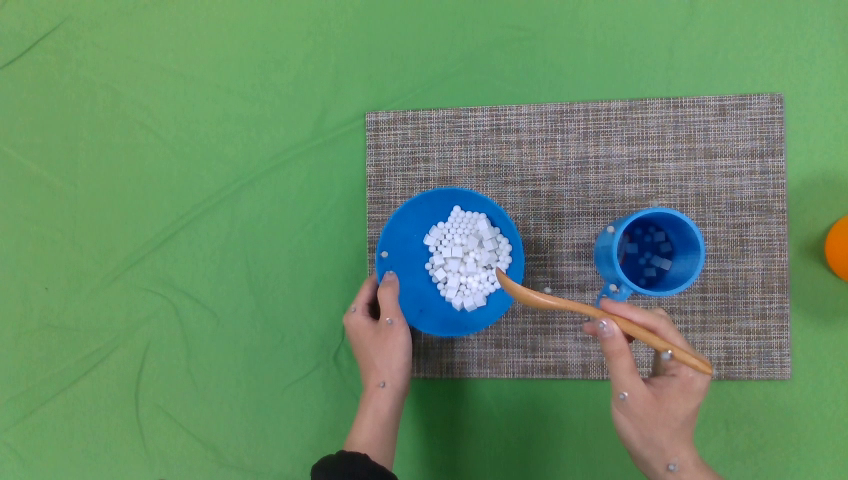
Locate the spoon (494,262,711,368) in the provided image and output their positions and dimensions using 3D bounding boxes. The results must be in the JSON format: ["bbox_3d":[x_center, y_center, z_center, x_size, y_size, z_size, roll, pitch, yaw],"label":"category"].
[{"bbox_3d":[0.128,0.054,0.472,0.192,0.042,0.021,19,74,42],"label":"spoon"}]

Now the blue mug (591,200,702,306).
[{"bbox_3d":[0.207,0.020,0.603,0.082,0.106,0.116,37,93,6],"label":"blue mug"}]

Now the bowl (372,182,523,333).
[{"bbox_3d":[0.027,0.018,0.635,0.151,0.077,0.151,0,89,6],"label":"bowl"}]
